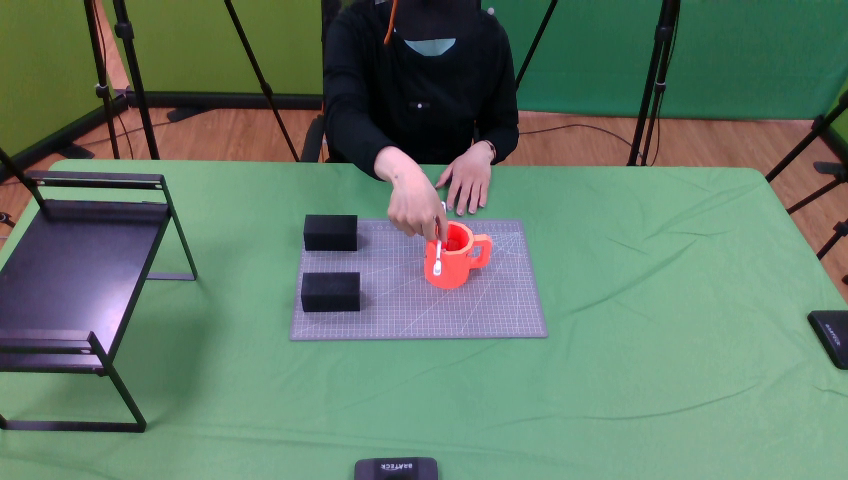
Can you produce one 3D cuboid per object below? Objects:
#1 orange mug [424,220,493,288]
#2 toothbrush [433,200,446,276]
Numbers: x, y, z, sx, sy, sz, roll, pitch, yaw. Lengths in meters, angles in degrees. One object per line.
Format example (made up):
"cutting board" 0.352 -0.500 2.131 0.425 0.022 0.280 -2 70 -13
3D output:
"orange mug" 0.063 0.023 1.119 0.126 0.101 0.083 -9 47 -7
"toothbrush" 0.029 -0.010 1.076 0.014 0.017 0.181 4 46 2
